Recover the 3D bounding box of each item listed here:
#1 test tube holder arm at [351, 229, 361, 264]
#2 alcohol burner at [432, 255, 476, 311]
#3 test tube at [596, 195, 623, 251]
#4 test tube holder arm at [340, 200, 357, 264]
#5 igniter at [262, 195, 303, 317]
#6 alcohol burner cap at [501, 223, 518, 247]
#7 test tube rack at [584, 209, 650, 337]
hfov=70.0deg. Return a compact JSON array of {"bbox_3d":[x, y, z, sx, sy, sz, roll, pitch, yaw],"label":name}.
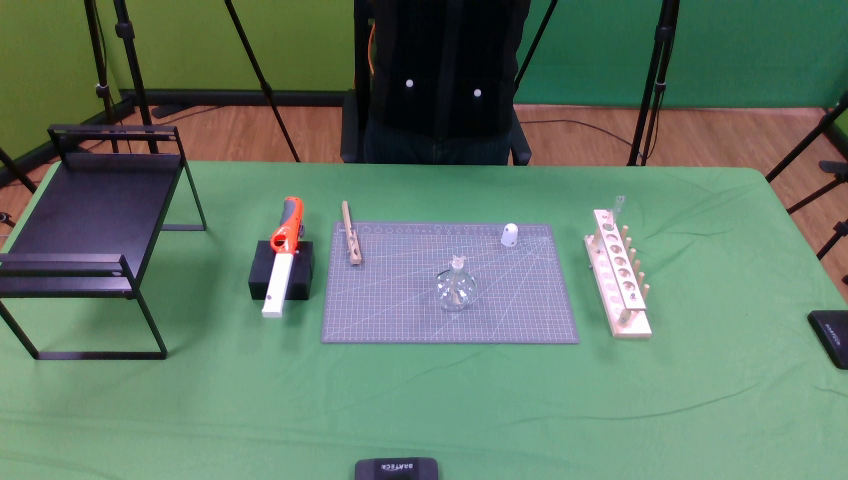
[{"bbox_3d":[-0.136,0.012,1.175,0.010,0.015,0.087,10,38,-26],"label":"test tube holder arm"},{"bbox_3d":[0.055,0.070,1.068,0.078,0.119,0.077,3,45,-3],"label":"alcohol burner"},{"bbox_3d":[0.347,-0.029,1.140,0.017,0.151,0.017,1,52,-1],"label":"test tube"},{"bbox_3d":[-0.151,-0.019,1.204,0.013,0.015,0.177,10,39,-27],"label":"test tube holder arm"},{"bbox_3d":[-0.253,0.020,1.090,0.057,0.025,0.275,0,49,-1],"label":"igniter"},{"bbox_3d":[0.172,-0.013,1.206,0.034,0.048,0.033,1,46,-1],"label":"alcohol burner cap"},{"bbox_3d":[0.365,0.056,1.129,0.067,0.085,0.240,1,46,-4],"label":"test tube rack"}]
